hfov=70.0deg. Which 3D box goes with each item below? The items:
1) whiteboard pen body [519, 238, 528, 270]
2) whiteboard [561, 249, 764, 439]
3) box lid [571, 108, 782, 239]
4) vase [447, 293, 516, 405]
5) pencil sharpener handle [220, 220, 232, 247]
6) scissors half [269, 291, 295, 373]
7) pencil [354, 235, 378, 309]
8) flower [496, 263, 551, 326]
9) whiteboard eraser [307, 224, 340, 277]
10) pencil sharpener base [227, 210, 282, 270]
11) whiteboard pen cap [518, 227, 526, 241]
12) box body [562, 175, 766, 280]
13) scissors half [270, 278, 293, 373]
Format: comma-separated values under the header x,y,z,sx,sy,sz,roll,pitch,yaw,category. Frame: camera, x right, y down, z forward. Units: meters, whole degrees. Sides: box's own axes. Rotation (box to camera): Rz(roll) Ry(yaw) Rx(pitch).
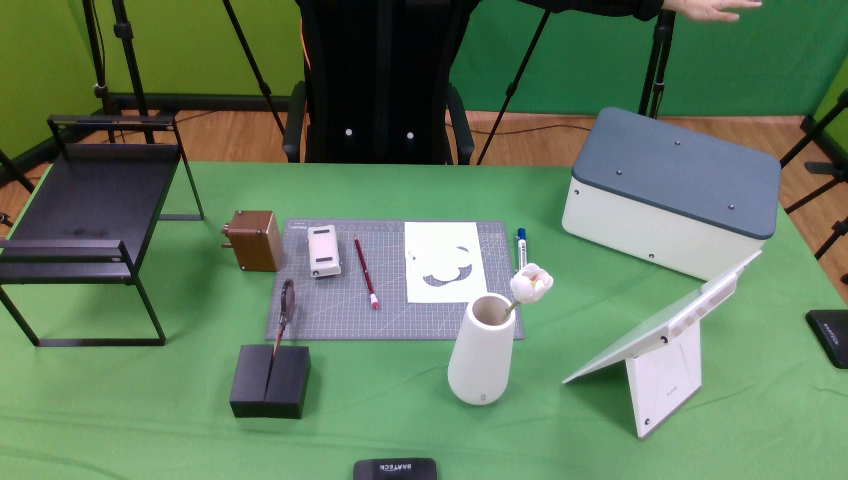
x,y,z,sx,sy,sz,roll,pitch,yaw,category
0.193,0.035,1.181,0.017,0.017,0.140,6,48,1,whiteboard pen body
0.386,0.176,0.905,0.217,0.306,0.143,-26,72,-26,whiteboard
0.491,-0.139,1.168,0.370,0.015,0.262,21,49,15,box lid
0.091,0.169,0.921,0.098,0.201,0.097,3,47,-3,vase
-0.362,-0.009,1.105,0.030,0.068,0.036,1,52,1,pencil sharpener handle
-0.237,0.151,1.009,0.013,0.040,0.174,4,38,0,scissors half
-0.113,0.055,1.143,0.012,0.012,0.192,-10,46,-13,pencil
0.102,0.121,0.853,0.044,0.363,0.038,-2,64,-10,flower
-0.191,0.022,1.144,0.056,0.042,0.112,-5,47,-10,whiteboard eraser
-0.311,0.001,1.112,0.077,0.107,0.061,1,47,1,pencil sharpener base
0.197,-0.009,1.220,0.018,0.018,0.033,5,51,1,whiteboard pen cap
0.486,-0.088,1.222,0.363,0.161,0.253,20,48,15,box body
-0.236,0.137,0.994,0.013,0.040,0.174,0,55,3,scissors half
